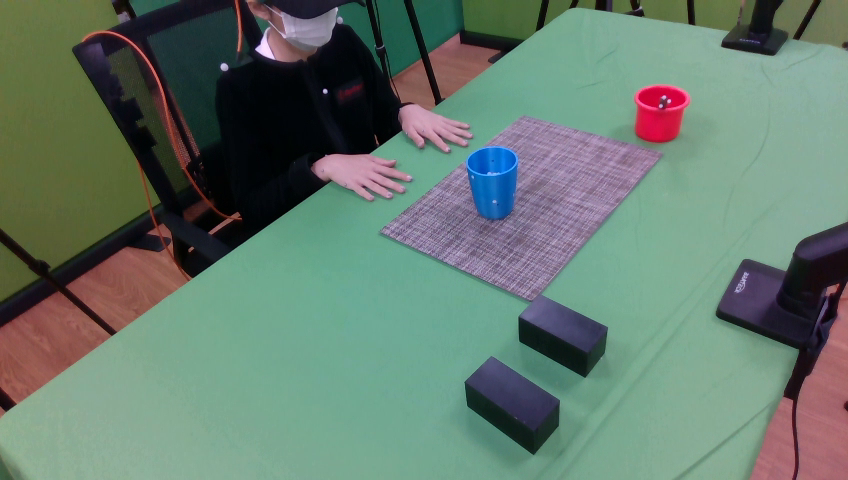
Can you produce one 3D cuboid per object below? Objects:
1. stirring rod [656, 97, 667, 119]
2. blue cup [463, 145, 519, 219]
[{"bbox_3d":[0.432,-0.239,1.102,0.014,0.006,0.177,4,2,19],"label":"stirring rod"},{"bbox_3d":[0.115,-0.090,0.997,0.092,0.101,0.092,-5,41,5],"label":"blue cup"}]
